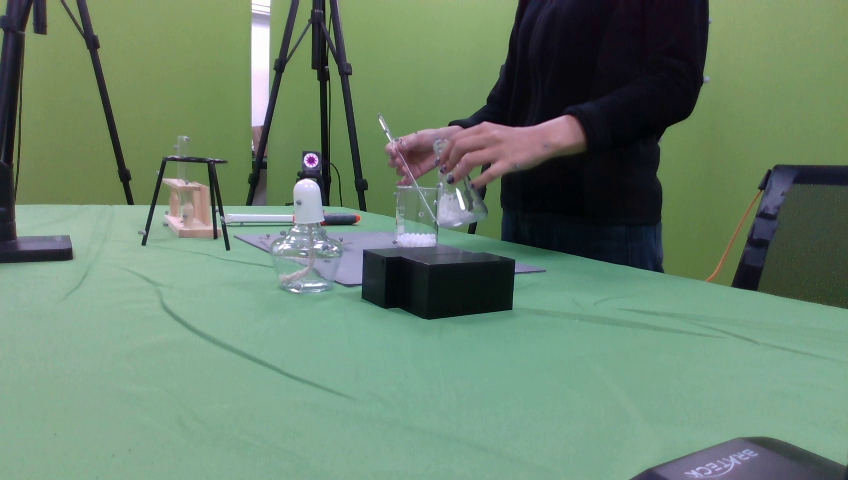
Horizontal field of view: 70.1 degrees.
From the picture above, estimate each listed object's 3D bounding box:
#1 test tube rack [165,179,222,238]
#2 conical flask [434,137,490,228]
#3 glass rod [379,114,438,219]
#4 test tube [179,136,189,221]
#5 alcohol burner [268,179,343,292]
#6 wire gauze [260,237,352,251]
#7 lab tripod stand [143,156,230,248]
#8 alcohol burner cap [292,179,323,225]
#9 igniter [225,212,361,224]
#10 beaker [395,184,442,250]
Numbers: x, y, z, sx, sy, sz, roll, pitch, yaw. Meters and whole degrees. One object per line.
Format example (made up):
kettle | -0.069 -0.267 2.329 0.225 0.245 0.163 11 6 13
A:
test tube rack | -0.423 -0.062 1.098 0.067 0.085 0.241 -2 9 -28
conical flask | 0.045 -0.083 0.857 0.075 0.121 0.075 -12 -6 -1
glass rod | -0.026 -0.120 0.968 0.008 0.199 0.008 -27 -12 -6
test tube | -0.425 -0.108 1.070 0.017 0.150 0.017 4 9 0
alcohol burner | -0.124 -0.005 0.637 0.078 0.119 0.078 4 8 0
wire gauze | -0.184 0.004 0.938 0.122 0.011 0.124 -1 5 -24
lab tripod stand | -0.338 -0.058 0.908 0.148 0.131 0.148 4 7 0
alcohol burner cap | -0.124 -0.040 0.632 0.034 0.048 0.034 -3 10 1
igniter | -0.262 -0.044 1.240 0.278 0.025 0.057 -2 -1 -31
beaker | -0.009 -0.038 0.968 0.074 0.100 0.084 6 8 21
